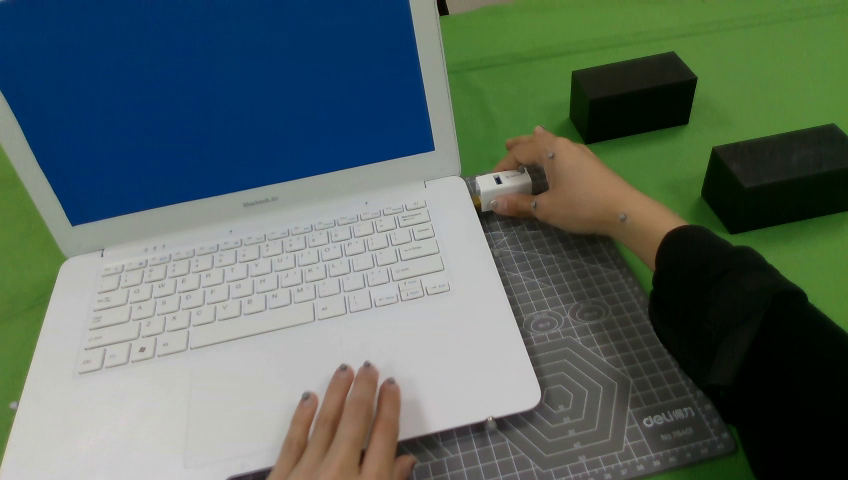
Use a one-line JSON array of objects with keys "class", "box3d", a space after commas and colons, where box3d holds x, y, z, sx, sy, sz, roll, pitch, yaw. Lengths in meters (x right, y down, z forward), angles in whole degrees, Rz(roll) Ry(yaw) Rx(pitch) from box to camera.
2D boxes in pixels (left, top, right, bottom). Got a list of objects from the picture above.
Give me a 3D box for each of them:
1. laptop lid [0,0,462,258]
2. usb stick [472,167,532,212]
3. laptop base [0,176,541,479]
[{"class": "laptop lid", "box3d": [-0.156, -0.116, 0.476, 0.357, 0.244, 0.013, -14, 31, -2]}, {"class": "usb stick", "box3d": [0.061, -0.041, 0.512, 0.059, 0.027, 0.021, -15, 44, -1]}, {"class": "laptop base", "box3d": [-0.115, 0.065, 0.455, 0.354, 0.023, 0.233, -12, 49, -3]}]
